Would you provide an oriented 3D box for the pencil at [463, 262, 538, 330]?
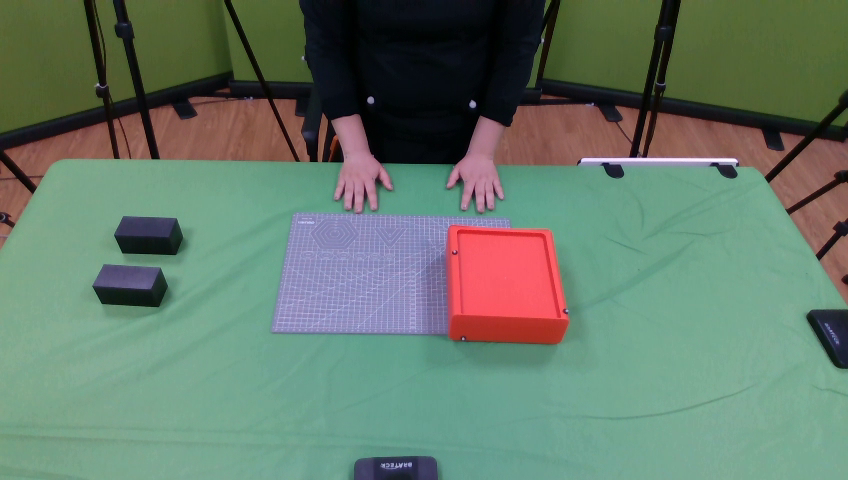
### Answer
[{"bbox_3d":[0.135,0.098,1.098,0.012,0.012,0.193,-28,54,-28],"label":"pencil"}]

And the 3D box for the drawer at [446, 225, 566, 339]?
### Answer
[{"bbox_3d":[0.140,0.073,1.094,0.194,0.073,0.210,3,47,-3],"label":"drawer"}]

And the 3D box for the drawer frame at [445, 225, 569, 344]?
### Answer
[{"bbox_3d":[0.141,0.076,1.089,0.202,0.083,0.212,3,47,-4],"label":"drawer frame"}]
